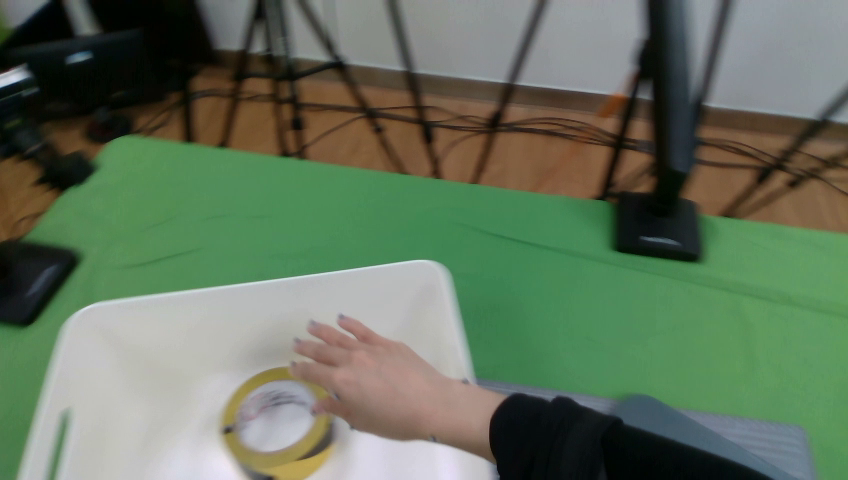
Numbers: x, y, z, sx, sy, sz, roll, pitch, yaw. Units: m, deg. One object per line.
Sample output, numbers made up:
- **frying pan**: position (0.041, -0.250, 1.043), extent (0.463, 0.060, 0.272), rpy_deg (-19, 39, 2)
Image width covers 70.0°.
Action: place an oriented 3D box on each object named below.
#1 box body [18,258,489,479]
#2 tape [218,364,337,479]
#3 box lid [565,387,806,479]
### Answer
- **box body**: position (-0.143, 0.184, 0.576), extent (0.365, 0.162, 0.251), rpy_deg (-8, 49, -7)
- **tape**: position (-0.153, 0.191, 0.635), extent (0.117, 0.053, 0.115), rpy_deg (0, 48, 0)
- **box lid**: position (0.302, 0.321, 0.561), extent (0.369, 0.015, 0.262), rpy_deg (28, 54, 22)
